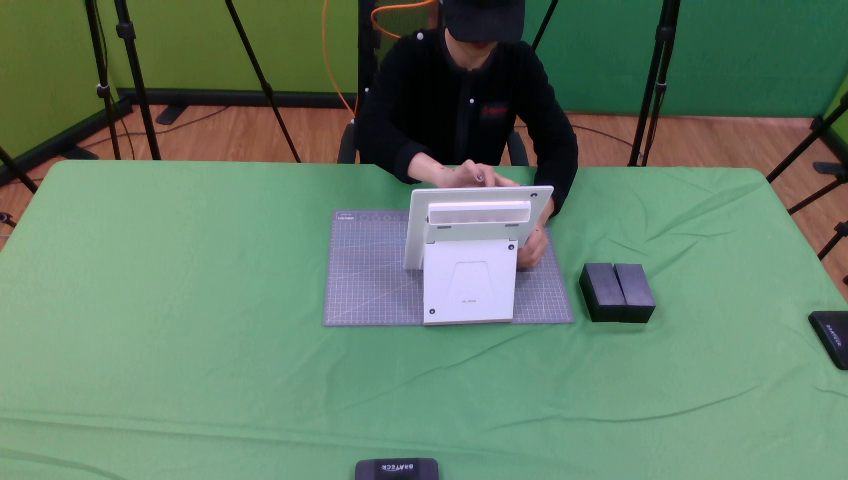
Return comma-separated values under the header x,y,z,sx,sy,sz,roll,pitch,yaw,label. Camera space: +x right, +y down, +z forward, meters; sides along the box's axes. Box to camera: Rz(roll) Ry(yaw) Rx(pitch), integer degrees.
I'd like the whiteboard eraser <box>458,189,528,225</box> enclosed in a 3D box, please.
x,y,z,sx,sy,sz,roll,pitch,yaw,label
0.115,-0.051,1.003,0.112,0.056,0.041,-7,67,9,whiteboard eraser

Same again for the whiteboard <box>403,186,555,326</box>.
x,y,z,sx,sy,sz,roll,pitch,yaw,label
0.081,0.044,1.004,0.217,0.306,0.143,-1,66,-5,whiteboard
